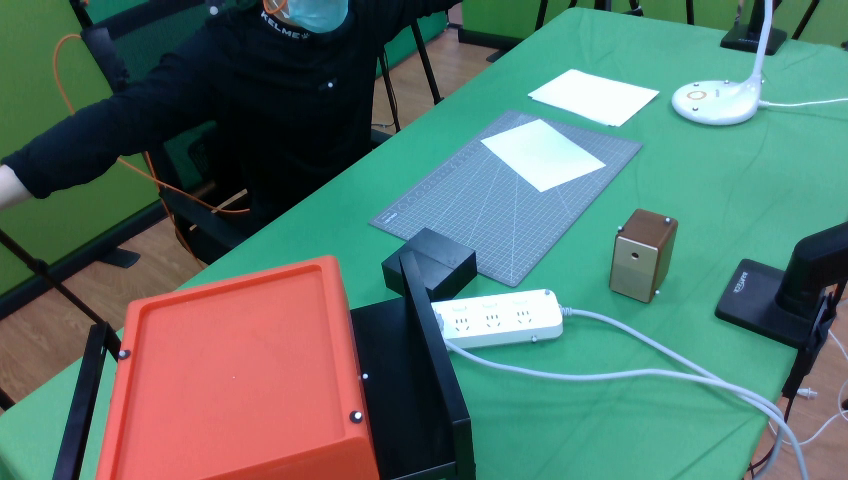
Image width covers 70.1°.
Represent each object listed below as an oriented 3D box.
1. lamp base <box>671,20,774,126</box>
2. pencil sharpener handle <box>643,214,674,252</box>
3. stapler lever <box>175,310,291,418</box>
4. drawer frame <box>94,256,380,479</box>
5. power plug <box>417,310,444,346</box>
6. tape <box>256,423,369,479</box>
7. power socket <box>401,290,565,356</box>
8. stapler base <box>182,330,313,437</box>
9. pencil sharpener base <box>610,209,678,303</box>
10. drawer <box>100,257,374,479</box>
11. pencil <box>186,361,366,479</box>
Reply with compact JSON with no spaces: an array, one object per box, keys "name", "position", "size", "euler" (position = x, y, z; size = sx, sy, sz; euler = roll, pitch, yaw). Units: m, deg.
[{"name":"lamp base","position":[0.581,-0.332,1.154],"size":[0.179,0.181,0.160],"euler":[2,41,7]},{"name":"pencil sharpener handle","position":[0.337,-0.016,0.857],"size":[0.035,0.068,0.031],"euler":[1,35,44]},{"name":"stapler lever","position":[-0.173,0.109,0.547],"size":[0.118,0.040,0.026],"euler":[-36,42,-20]},{"name":"drawer frame","position":[-0.155,0.125,0.525],"size":[0.202,0.083,0.212],"euler":[-13,41,-8]},{"name":"power plug","position":[0.006,0.122,0.785],"size":[0.035,0.053,0.072],"euler":[-1,40,8]},{"name":"tape","position":[-0.121,0.263,0.660],"size":[0.117,0.053,0.116],"euler":[-4,40,4]},{"name":"power socket","position":[0.080,0.112,0.822],"size":[0.227,0.033,0.072],"euler":[-6,41,0]},{"name":"stapler base","position":[-0.166,0.125,0.564],"size":[0.131,0.024,0.041],"euler":[-36,43,-19]},{"name":"pencil sharpener base","position":[0.304,0.021,0.838],"size":[0.061,0.107,0.077],"euler":[21,48,30]},{"name":"drawer","position":[-0.158,0.125,0.526],"size":[0.195,0.073,0.210],"euler":[-13,41,-7]},{"name":"pencil","position":[-0.128,0.159,0.520],"size":[0.195,0.012,0.012],"euler":[-32,46,-28]}]
